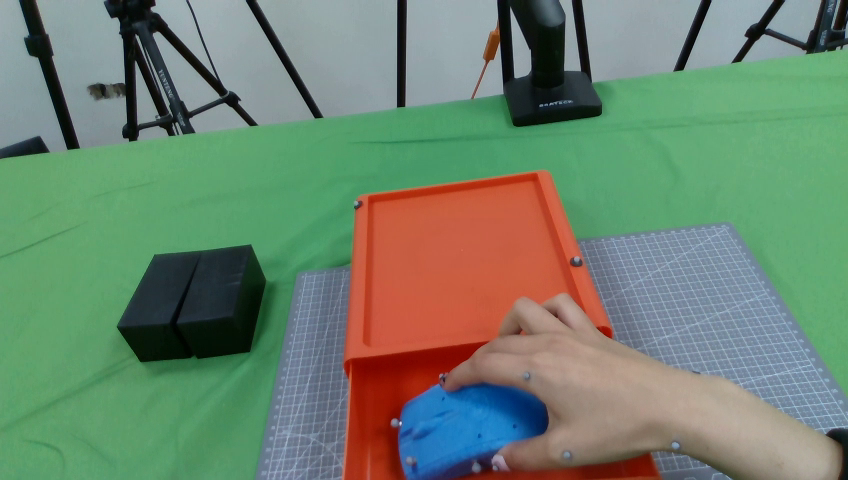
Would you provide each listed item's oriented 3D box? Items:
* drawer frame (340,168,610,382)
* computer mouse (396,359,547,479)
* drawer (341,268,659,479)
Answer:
[{"bbox_3d":[0.035,0.037,0.540,0.202,0.083,0.211,-9,39,2],"label":"drawer frame"},{"bbox_3d":[0.028,0.127,0.428,0.117,0.041,0.062,-25,51,22],"label":"computer mouse"},{"bbox_3d":[0.041,0.111,0.453,0.194,0.074,0.209,-8,40,3],"label":"drawer"}]
